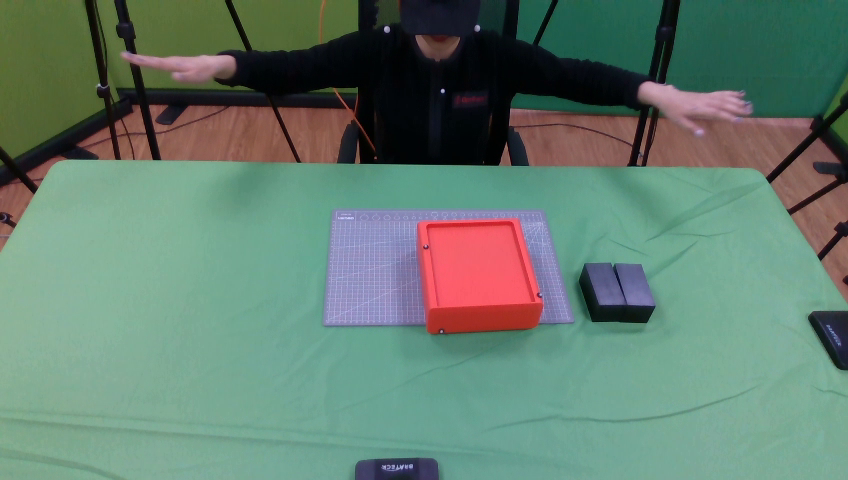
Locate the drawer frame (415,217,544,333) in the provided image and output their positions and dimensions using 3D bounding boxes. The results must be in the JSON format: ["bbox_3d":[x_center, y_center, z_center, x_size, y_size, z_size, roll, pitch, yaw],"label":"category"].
[{"bbox_3d":[0.094,0.058,1.104,0.202,0.083,0.212,-2,47,-7],"label":"drawer frame"}]

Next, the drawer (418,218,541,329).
[{"bbox_3d":[0.094,0.057,1.107,0.195,0.073,0.210,-1,47,-6],"label":"drawer"}]

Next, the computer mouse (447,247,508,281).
[{"bbox_3d":[0.101,0.046,1.135,0.117,0.041,0.062,4,43,-9],"label":"computer mouse"}]
